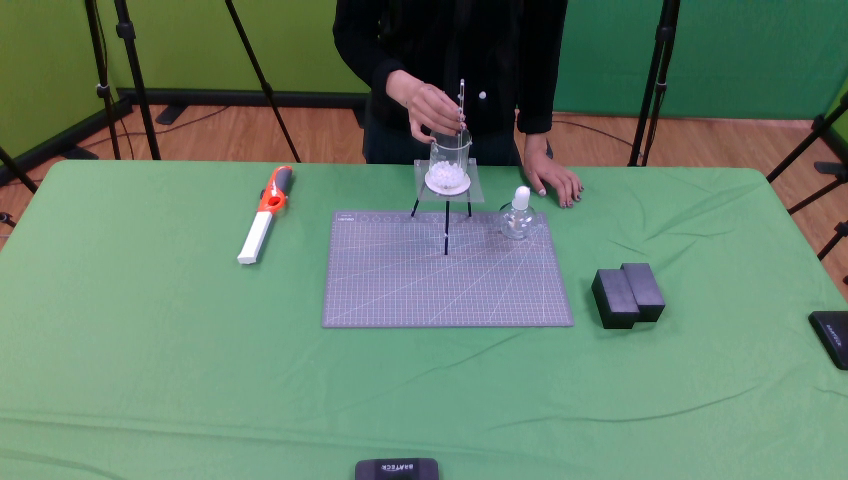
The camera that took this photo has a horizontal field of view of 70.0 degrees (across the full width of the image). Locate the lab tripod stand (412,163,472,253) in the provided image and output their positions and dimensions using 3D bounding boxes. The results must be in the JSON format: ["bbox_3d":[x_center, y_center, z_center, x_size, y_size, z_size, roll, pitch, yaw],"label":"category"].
[{"bbox_3d":[0.043,-0.069,1.187,0.148,0.132,0.147,3,47,-3],"label":"lab tripod stand"}]

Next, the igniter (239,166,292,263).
[{"bbox_3d":[-0.318,-0.060,1.229,0.057,0.025,0.275,-2,45,9],"label":"igniter"}]

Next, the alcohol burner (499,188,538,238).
[{"bbox_3d":[0.189,-0.060,1.202,0.078,0.120,0.077,1,48,-1],"label":"alcohol burner"}]

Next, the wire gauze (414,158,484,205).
[{"bbox_3d":[0.045,-0.113,1.137,0.125,0.011,0.120,2,48,-6],"label":"wire gauze"}]

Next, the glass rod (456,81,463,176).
[{"bbox_3d":[0.061,-0.190,1.064,0.008,0.201,0.008,0,47,0],"label":"glass rod"}]

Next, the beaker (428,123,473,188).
[{"bbox_3d":[0.044,-0.154,1.110,0.074,0.101,0.083,-25,54,-25],"label":"beaker"}]

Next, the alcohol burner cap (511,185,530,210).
[{"bbox_3d":[0.190,-0.085,1.176,0.034,0.048,0.033,3,50,-3],"label":"alcohol burner cap"}]
